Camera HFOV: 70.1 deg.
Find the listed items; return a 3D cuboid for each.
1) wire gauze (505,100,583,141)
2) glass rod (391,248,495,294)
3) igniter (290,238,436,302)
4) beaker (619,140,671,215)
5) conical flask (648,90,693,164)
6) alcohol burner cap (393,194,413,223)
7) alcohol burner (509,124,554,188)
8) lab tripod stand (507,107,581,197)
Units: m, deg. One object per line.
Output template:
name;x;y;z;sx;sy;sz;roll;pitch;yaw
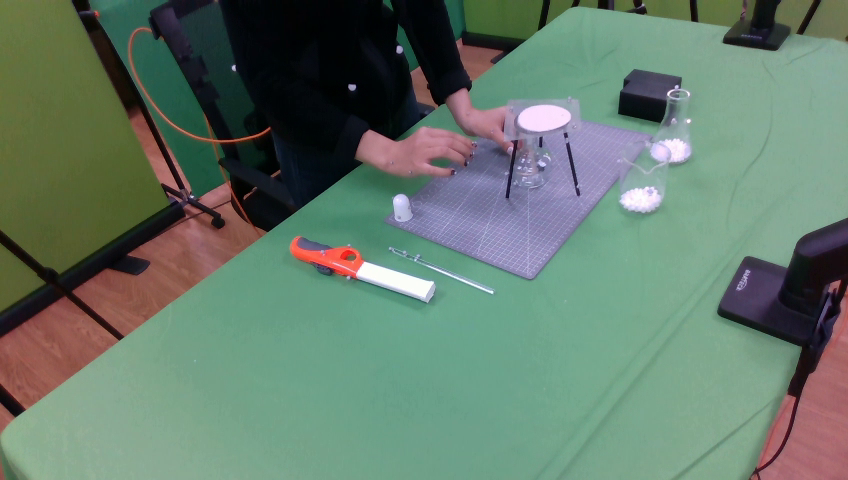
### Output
wire gauze;0.194;-0.200;0.987;0.121;0.011;0.124;-1;39;11
glass rod;0.025;0.045;0.935;0.198;0.008;0.008;21;49;32
igniter;-0.106;0.043;0.949;0.274;0.025;0.057;16;57;27
beaker;0.352;-0.096;0.971;0.074;0.101;0.084;1;42;13
conical flask;0.437;-0.199;1.057;0.075;0.122;0.075;-5;40;5
alcohol burner cap;-0.038;-0.056;1.038;0.034;0.048;0.033;-6;40;5
alcohol burner;0.186;-0.150;1.050;0.078;0.119;0.077;-5;42;5
lab tripod stand;0.201;-0.151;1.033;0.148;0.132;0.147;-7;39;6
